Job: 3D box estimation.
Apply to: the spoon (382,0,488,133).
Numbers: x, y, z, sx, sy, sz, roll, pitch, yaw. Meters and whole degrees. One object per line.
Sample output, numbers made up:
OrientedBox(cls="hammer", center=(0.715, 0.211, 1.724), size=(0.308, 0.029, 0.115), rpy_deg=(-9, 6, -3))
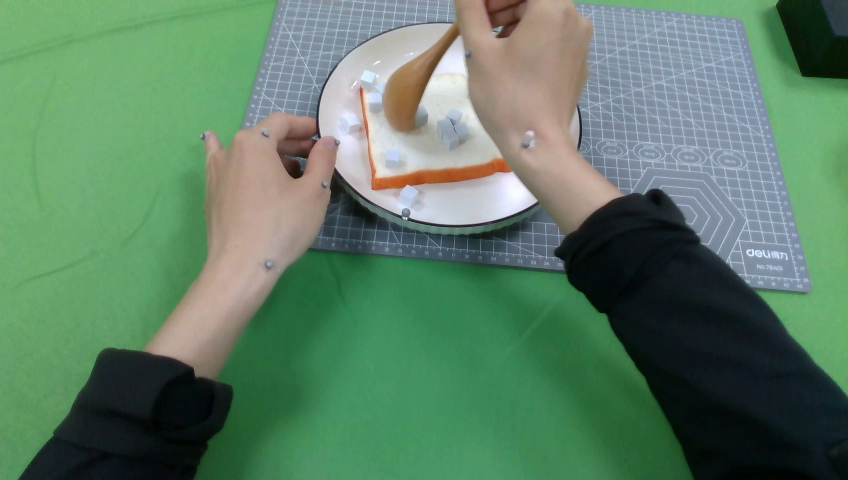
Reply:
OrientedBox(cls="spoon", center=(0.020, -0.145, 0.411), size=(0.022, 0.194, 0.041), rpy_deg=(-3, 57, -44))

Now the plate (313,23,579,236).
OrientedBox(cls="plate", center=(0.017, -0.089, 0.486), size=(0.209, 0.038, 0.207), rpy_deg=(2, 61, -3))

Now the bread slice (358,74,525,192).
OrientedBox(cls="bread slice", center=(0.015, -0.093, 0.491), size=(0.132, 0.019, 0.104), rpy_deg=(-8, 62, -7))
